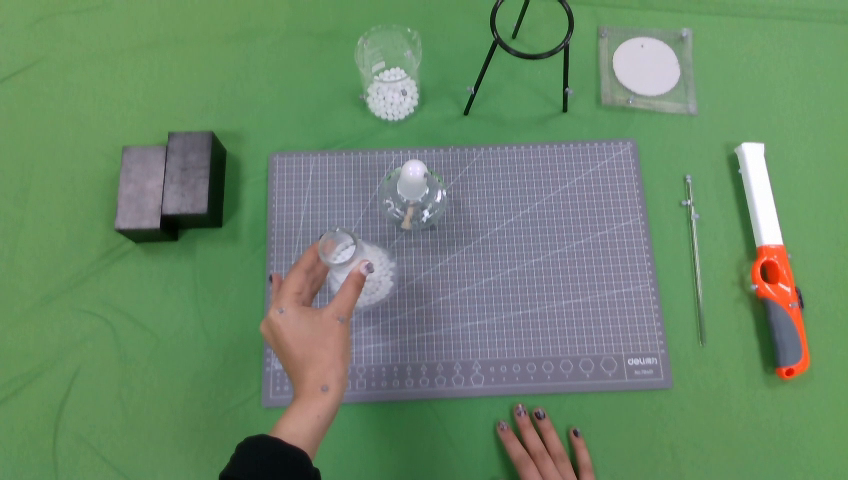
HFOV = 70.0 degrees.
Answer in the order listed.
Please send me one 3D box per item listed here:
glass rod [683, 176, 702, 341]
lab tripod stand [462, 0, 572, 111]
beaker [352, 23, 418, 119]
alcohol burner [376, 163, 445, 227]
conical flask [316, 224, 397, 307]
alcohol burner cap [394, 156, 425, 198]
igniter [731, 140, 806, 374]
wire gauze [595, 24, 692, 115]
[{"bbox_3d":[0.312,0.018,0.707,0.008,0.008,0.198,2,74,0],"label":"glass rod"},{"bbox_3d":[0.111,-0.215,0.706,0.148,0.132,0.147,0,76,0],"label":"lab tripod stand"},{"bbox_3d":[-0.041,-0.196,0.717,0.084,0.101,0.073,-42,79,-12],"label":"beaker"},{"bbox_3d":[-0.015,-0.057,0.668,0.078,0.119,0.077,1,73,-2],"label":"alcohol burner"},{"bbox_3d":[-0.071,0.020,0.591,0.075,0.122,0.075,-1,75,6],"label":"conical flask"},{"bbox_3d":[-0.013,-0.069,0.634,0.034,0.048,0.033,3,67,-7],"label":"alcohol burner cap"},{"bbox_3d":[0.396,0.014,0.700,0.057,0.025,0.275,1,74,-11],"label":"igniter"},{"bbox_3d":[0.281,-0.222,0.775,0.125,0.011,0.121,5,75,-1],"label":"wire gauze"}]
